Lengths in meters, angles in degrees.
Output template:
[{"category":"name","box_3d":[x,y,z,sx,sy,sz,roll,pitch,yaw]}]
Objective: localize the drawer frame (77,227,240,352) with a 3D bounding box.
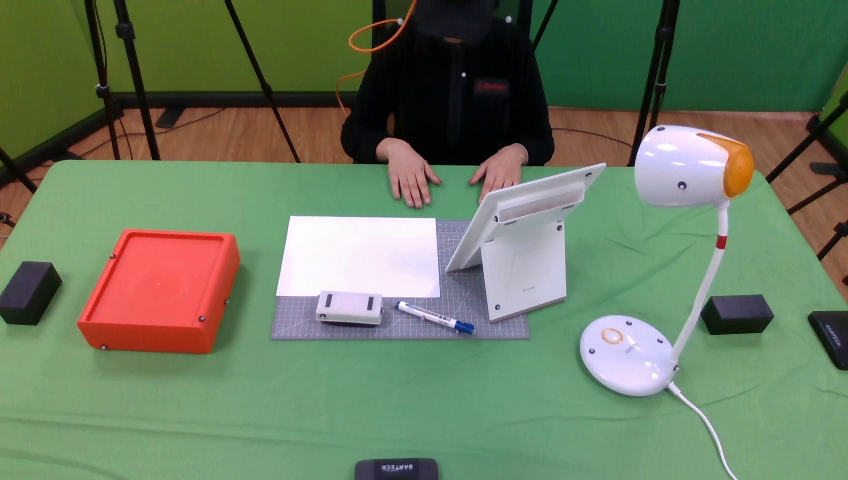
[{"category":"drawer frame","box_3d":[-0.444,0.081,1.044,0.202,0.083,0.212,3,47,-3]}]

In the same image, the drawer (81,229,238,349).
[{"category":"drawer","box_3d":[-0.445,0.080,1.046,0.194,0.073,0.210,3,47,-2]}]

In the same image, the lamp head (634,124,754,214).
[{"category":"lamp head","box_3d":[0.351,-0.089,0.776,0.112,0.113,0.122,-30,30,-28]}]

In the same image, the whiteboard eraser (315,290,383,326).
[{"category":"whiteboard eraser","box_3d":[-0.130,0.120,1.054,0.113,0.042,0.055,4,48,0]}]

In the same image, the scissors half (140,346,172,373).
[{"category":"scissors half","box_3d":[-0.475,0.164,0.987,0.175,0.040,0.013,36,53,9]}]

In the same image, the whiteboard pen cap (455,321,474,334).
[{"category":"whiteboard pen cap","box_3d":[0.069,0.151,1.046,0.033,0.018,0.018,14,47,16]}]

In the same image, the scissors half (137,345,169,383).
[{"category":"scissors half","box_3d":[-0.479,0.171,0.997,0.175,0.040,0.013,48,47,-3]}]

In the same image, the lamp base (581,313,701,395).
[{"category":"lamp base","box_3d":[0.361,0.144,0.973,0.178,0.181,0.160,34,53,23]}]

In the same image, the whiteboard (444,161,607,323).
[{"category":"whiteboard","box_3d":[0.186,0.025,1.029,0.217,0.306,0.143,-14,68,-18]}]

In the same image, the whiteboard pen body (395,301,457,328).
[{"category":"whiteboard pen body","box_3d":[0.015,0.134,1.064,0.140,0.017,0.017,17,47,16]}]
